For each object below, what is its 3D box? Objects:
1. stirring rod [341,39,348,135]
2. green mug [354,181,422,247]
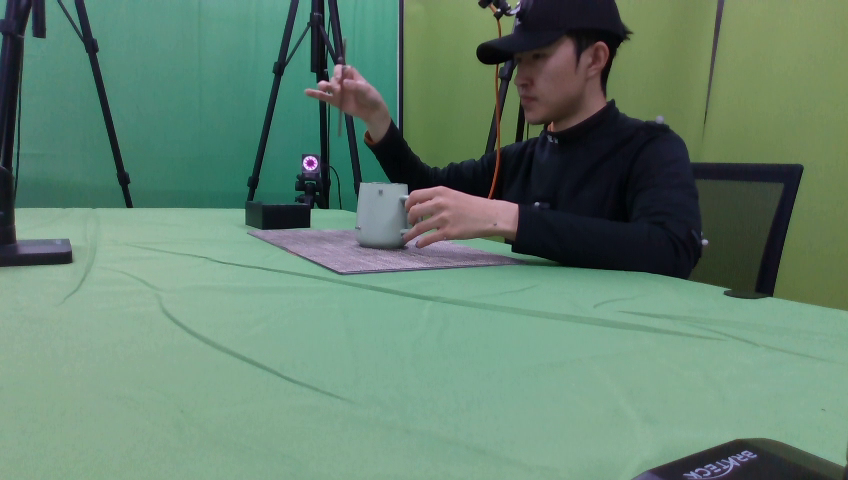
[{"bbox_3d":[-0.151,-0.288,1.143,0.006,0.176,0.014,3,11,-7],"label":"stirring rod"},{"bbox_3d":[-0.055,-0.042,0.988,0.125,0.105,0.093,7,8,36],"label":"green mug"}]
